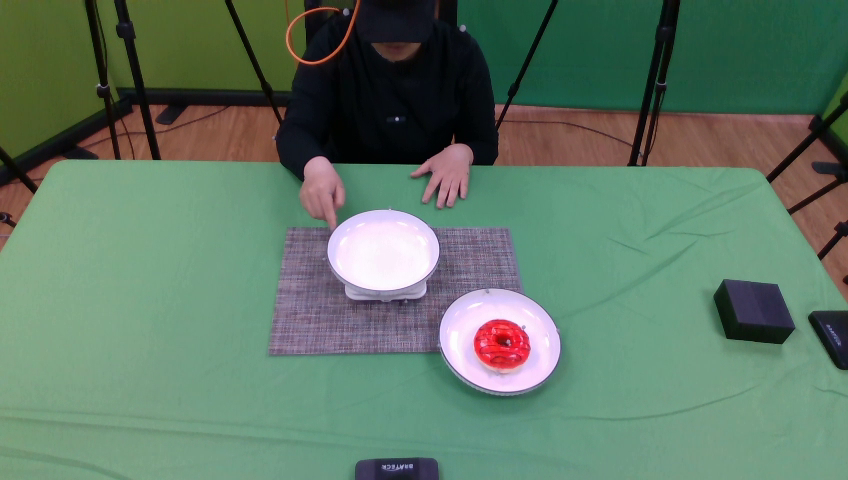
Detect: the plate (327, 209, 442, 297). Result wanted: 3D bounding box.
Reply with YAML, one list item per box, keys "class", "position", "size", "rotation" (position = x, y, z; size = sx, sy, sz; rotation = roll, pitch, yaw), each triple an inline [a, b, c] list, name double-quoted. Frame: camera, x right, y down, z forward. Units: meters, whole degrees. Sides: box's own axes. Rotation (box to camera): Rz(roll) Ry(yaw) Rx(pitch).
- class: "plate"
  position: [-0.071, 0.027, 1.110]
  size: [0.208, 0.039, 0.206]
  rotation: [2, 46, -1]

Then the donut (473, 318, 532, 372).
- class: "donut"
  position: [0.131, 0.174, 1.010]
  size: [0.099, 0.048, 0.098]
  rotation: [1, 48, -1]

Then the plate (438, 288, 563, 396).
- class: "plate"
  position: [0.127, 0.173, 1.025]
  size: [0.209, 0.038, 0.208]
  rotation: [3, 48, -3]

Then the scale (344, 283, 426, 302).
- class: "scale"
  position: [-0.074, 0.033, 1.149]
  size: [0.149, 0.032, 0.199]
  rotation: [0, 45, -5]
